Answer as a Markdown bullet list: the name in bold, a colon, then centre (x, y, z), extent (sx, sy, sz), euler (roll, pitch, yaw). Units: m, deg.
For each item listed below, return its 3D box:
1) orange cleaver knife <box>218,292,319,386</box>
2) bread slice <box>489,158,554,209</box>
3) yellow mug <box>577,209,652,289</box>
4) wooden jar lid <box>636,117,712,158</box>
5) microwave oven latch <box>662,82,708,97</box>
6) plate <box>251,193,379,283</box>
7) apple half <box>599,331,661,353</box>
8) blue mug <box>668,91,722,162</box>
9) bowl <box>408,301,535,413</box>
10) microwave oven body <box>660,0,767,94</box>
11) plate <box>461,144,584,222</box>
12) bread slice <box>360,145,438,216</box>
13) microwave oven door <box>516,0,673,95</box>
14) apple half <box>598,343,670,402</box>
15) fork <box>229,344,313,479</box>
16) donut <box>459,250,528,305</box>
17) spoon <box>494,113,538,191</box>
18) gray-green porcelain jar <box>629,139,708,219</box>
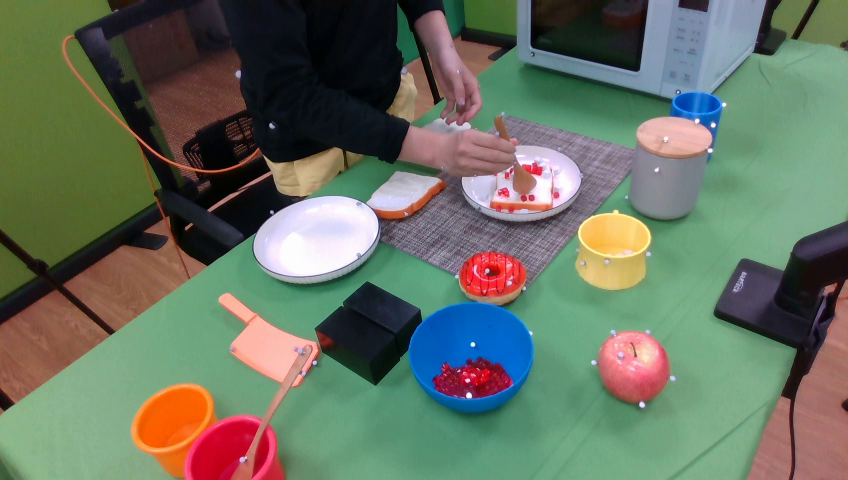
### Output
- **orange cleaver knife**: centre (-0.235, 0.136, 0.850), extent (0.209, 0.012, 0.077), euler (25, 57, 30)
- **bread slice**: centre (0.172, -0.101, 1.046), extent (0.104, 0.019, 0.131), euler (4, 42, 11)
- **yellow mug**: centre (0.279, 0.004, 0.893), extent (0.099, 0.064, 0.130), euler (5, 41, 15)
- **wooden jar lid**: centre (0.377, -0.151, 0.917), extent (0.108, 0.021, 0.108), euler (-2, 42, 2)
- **microwave oven latch**: centre (0.518, -0.298, 1.202), extent (0.078, 0.029, 0.030), euler (28, 53, 35)
- **plate**: centre (-0.174, -0.001, 0.984), extent (0.209, 0.038, 0.208), euler (-4, 41, 4)
- **apple half**: centre (0.249, 0.134, 0.738), extent (0.081, 0.081, 0.032), euler (-1, 46, 7)
- **blue mug**: centre (0.475, -0.207, 1.078), extent (0.082, 0.106, 0.116), euler (4, 42, 13)
- **bowl**: centre (0.060, 0.156, 0.739), extent (0.151, 0.077, 0.150), euler (-4, 40, 4)
- **microwave oven body**: centre (0.474, -0.516, 1.313), extent (0.438, 0.261, 0.327), euler (26, 51, 34)
- **plate**: centre (0.167, -0.095, 1.040), extent (0.207, 0.039, 0.206), euler (-4, 41, 4)
- **bread slice**: centre (-0.052, -0.103, 1.046), extent (0.106, 0.018, 0.134), euler (18, 66, 23)
- **microwave oven door**: centre (0.344, -0.458, 1.257), extent (0.353, 0.245, 0.039), euler (26, 52, 33)
- **apple half**: centre (0.247, 0.161, 0.710), extent (0.081, 0.075, 0.053), euler (1, 47, 5)
- **fork**: centre (-0.173, 0.205, 0.662), extent (0.028, 0.019, 0.207), euler (29, 94, 36)
- **donut**: centre (0.100, 0.053, 0.872), extent (0.099, 0.048, 0.098), euler (-5, 40, 4)
- **spoon**: centre (0.139, -0.131, 0.938), extent (0.041, 0.195, 0.021), euler (-20, 51, 14)
- **gray-green porcelain jar**: centre (0.383, -0.105, 0.958), extent (0.106, 0.127, 0.105), euler (-4, 41, 4)
